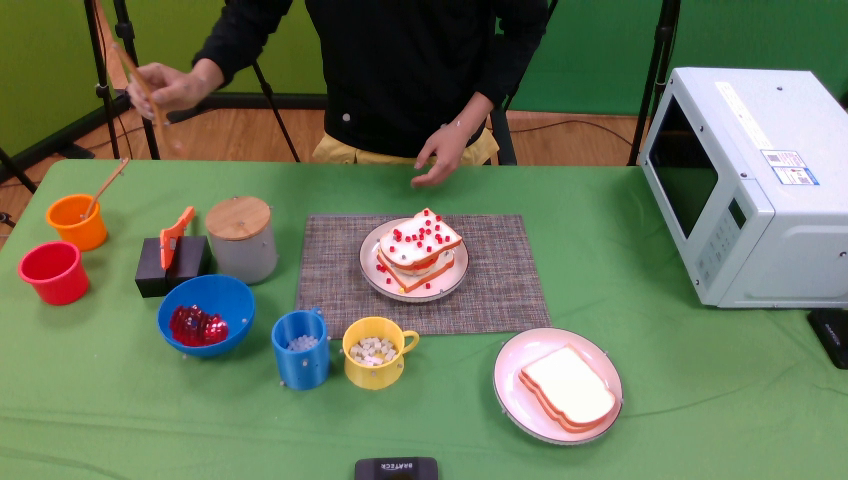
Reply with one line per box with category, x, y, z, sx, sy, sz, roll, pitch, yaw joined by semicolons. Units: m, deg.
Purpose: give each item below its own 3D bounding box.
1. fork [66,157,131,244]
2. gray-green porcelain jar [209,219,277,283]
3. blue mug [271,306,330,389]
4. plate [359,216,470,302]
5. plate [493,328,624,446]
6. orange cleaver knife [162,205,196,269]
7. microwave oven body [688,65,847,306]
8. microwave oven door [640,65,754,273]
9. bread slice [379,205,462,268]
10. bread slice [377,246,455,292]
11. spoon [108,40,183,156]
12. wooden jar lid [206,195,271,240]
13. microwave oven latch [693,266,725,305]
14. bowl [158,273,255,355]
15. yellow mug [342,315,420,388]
fork;-0.608;-0.074;1.132;0.207;0.019;0.028;-52;48;10
gray-green porcelain jar;-0.323;0.007;1.092;0.106;0.127;0.105;2;46;-2
blue mug;-0.188;0.163;0.969;0.082;0.106;0.116;15;47;10
plate;-0.019;0.038;1.140;0.209;0.038;0.208;2;46;-2
plate;0.213;0.236;0.974;0.208;0.039;0.206;2;46;-2
orange cleaver knife;-0.454;-0.010;1.129;0.012;0.077;0.210;-1;20;-5
microwave oven body;0.669;-0.111;1.176;0.326;0.261;0.439;0;46;-3
microwave oven door;0.523;-0.147;1.193;0.039;0.245;0.353;0;47;-3
bread slice;-0.012;-0.001;1.097;0.134;0.018;0.106;-33;51;-23
bread slice;-0.010;0.034;1.150;0.131;0.019;0.104;-29;56;-23
spoon;-0.424;-0.214;0.930;0.021;0.195;0.041;-9;34;11
wooden jar lid;-0.319;-0.036;1.046;0.108;0.021;0.107;1;44;-1
microwave oven latch;0.523;0.081;1.115;0.030;0.029;0.078;3;46;0
bowl;-0.351;0.136;1.001;0.151;0.077;0.150;2;46;-2
yellow mug;-0.068;0.177;0.990;0.131;0.064;0.099;-15;50;-19
